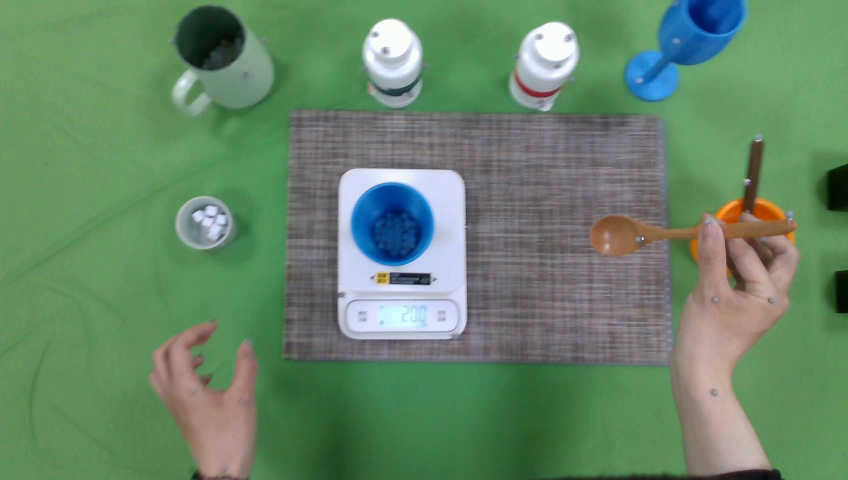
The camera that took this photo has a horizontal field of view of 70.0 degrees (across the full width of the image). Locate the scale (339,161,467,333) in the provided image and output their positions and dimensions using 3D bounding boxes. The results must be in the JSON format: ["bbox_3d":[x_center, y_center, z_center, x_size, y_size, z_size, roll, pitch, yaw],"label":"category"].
[{"bbox_3d":[-0.024,0.007,0.705,0.149,0.031,0.200,0,85,0],"label":"scale"}]

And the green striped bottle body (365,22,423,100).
[{"bbox_3d":[-0.033,-0.208,0.686,0.063,0.119,0.063,0,84,-1],"label":"green striped bottle body"}]

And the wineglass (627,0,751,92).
[{"bbox_3d":[0.283,-0.224,0.666,0.074,0.172,0.073,0,84,0],"label":"wineglass"}]

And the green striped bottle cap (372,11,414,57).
[{"bbox_3d":[-0.032,-0.215,0.631,0.044,0.020,0.044,0,84,1],"label":"green striped bottle cap"}]

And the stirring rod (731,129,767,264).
[{"bbox_3d":[0.356,-0.043,0.667,0.014,0.005,0.178,-14,127,-1],"label":"stirring rod"}]

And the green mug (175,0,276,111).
[{"bbox_3d":[-0.234,-0.201,0.691,0.092,0.105,0.125,36,85,3],"label":"green mug"}]

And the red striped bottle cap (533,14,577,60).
[{"bbox_3d":[0.138,-0.214,0.636,0.044,0.018,0.044,0,81,0],"label":"red striped bottle cap"}]

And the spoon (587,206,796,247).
[{"bbox_3d":[0.220,-0.014,0.527,0.022,0.192,0.041,-14,97,-30],"label":"spoon"}]

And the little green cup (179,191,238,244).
[{"bbox_3d":[-0.248,-0.024,0.705,0.061,0.038,0.061,0,84,-2],"label":"little green cup"}]

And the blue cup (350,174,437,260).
[{"bbox_3d":[-0.029,-0.019,0.642,0.092,0.100,0.092,0,86,0],"label":"blue cup"}]

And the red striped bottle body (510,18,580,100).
[{"bbox_3d":[0.138,-0.208,0.689,0.063,0.120,0.063,0,84,-1],"label":"red striped bottle body"}]
